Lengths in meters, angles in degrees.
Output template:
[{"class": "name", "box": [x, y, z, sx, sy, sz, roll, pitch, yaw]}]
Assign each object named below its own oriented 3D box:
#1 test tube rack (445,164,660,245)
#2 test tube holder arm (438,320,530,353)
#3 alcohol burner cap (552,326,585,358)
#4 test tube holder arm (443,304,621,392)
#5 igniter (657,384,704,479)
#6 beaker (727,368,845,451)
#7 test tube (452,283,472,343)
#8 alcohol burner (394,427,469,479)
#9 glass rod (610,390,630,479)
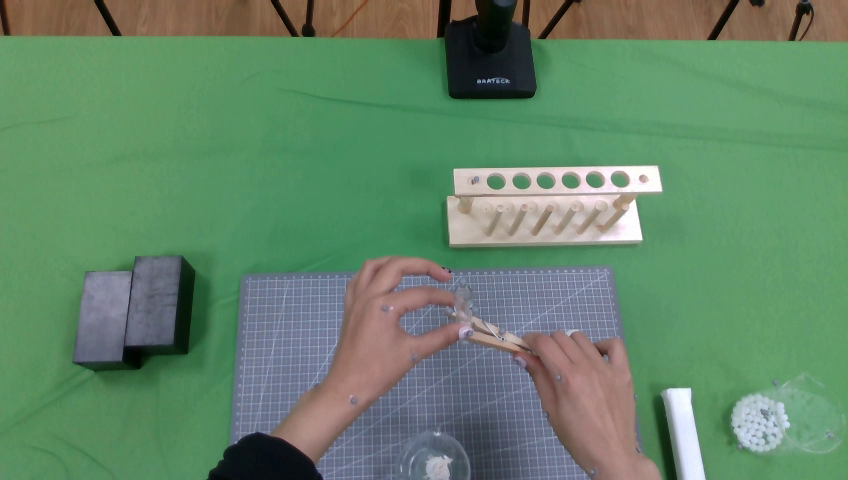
[{"class": "test tube rack", "box": [0.151, -0.042, 0.732, 0.243, 0.085, 0.066, -1, 69, -5]}, {"class": "test tube holder arm", "box": [0.056, 0.091, 0.569, 0.088, 0.015, 0.010, 13, 72, 1]}, {"class": "alcohol burner cap", "box": [0.169, 0.115, 0.694, 0.034, 0.048, 0.033, 1, 69, -4]}, {"class": "test tube holder arm", "box": [0.100, 0.101, 0.569, 0.178, 0.015, 0.013, 23, 73, 4]}, {"class": "igniter", "box": [0.289, 0.295, 0.647, 0.057, 0.025, 0.274, 3, 69, -14]}, {"class": "beaker", "box": [0.384, 0.187, 0.656, 0.074, 0.101, 0.083, 12, 68, 0]}, {"class": "test tube", "box": [0.035, 0.069, 0.546, 0.017, 0.151, 0.017, -1, 67, 4]}, {"class": "alcohol burner", "box": [0.009, 0.224, 0.602, 0.078, 0.120, 0.077, 1, 67, -3]}, {"class": "glass rod", "box": [0.221, 0.264, 0.660, 0.008, 0.008, 0.198, -2, 69, -5]}]
